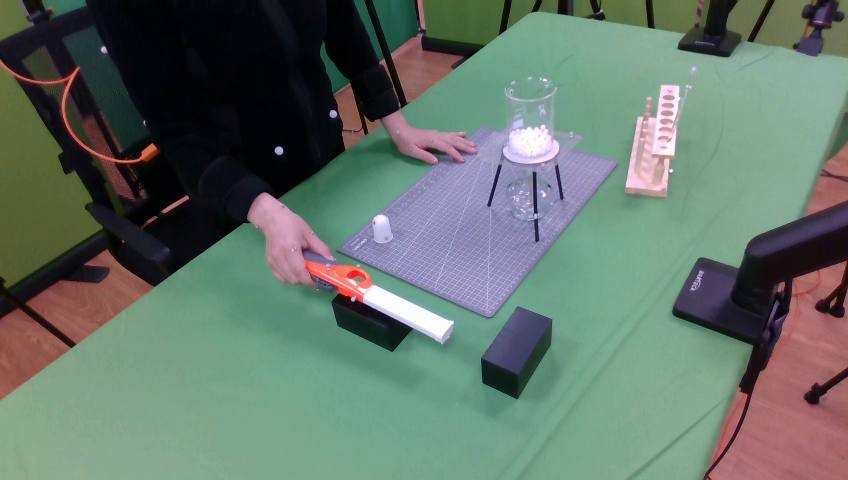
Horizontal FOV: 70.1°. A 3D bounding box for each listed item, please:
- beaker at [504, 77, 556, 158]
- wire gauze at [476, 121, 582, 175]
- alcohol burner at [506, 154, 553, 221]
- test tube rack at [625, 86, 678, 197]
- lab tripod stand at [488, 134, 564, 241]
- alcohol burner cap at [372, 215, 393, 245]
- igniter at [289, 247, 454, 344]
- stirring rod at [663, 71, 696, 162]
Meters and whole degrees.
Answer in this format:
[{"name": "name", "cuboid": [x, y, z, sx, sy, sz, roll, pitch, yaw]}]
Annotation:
[{"name": "beaker", "cuboid": [0.160, -0.181, 0.900, 0.084, 0.101, 0.073, -33, 46, -27]}, {"name": "wire gauze", "cuboid": [0.162, -0.142, 0.929, 0.120, 0.011, 0.125, 19, 49, 32]}, {"name": "alcohol burner", "cuboid": [0.171, -0.090, 0.984, 0.078, 0.119, 0.077, -5, 42, 5]}, {"name": "test tube rack", "cuboid": [0.412, -0.184, 1.088, 0.066, 0.085, 0.242, 9, 43, 18]}, {"name": "lab tripod stand", "cuboid": [0.168, -0.092, 0.972, 0.148, 0.132, 0.147, -5, 41, 5]}, {"name": "alcohol burner cap", "cuboid": [-0.070, -0.019, 0.990, 0.034, 0.048, 0.033, -4, 42, 4]}, {"name": "igniter", "cuboid": [-0.082, 0.069, 0.821, 0.274, 0.025, 0.057, 23, 44, 26]}, {"name": "stirring rod", "cuboid": [0.410, -0.195, 0.981, 0.014, 0.177, 0.006, 12, 50, 14]}]
